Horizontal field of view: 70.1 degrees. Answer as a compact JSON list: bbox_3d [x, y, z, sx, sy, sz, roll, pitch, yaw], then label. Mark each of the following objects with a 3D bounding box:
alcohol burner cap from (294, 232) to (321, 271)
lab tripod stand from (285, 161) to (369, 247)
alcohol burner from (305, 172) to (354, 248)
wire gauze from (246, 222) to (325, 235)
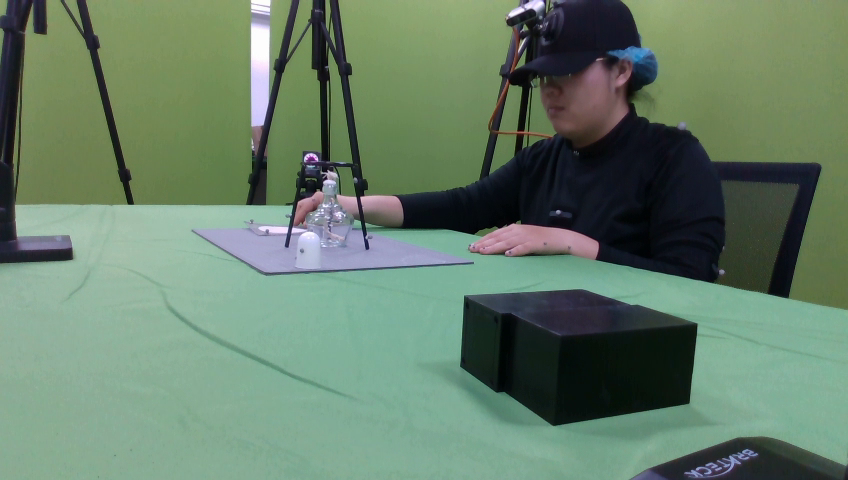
[{"bbox_3d":[-0.144,0.013,0.748,0.034,0.048,0.034,3,6,0],"label":"alcohol burner cap"},{"bbox_3d":[-0.151,-0.058,0.947,0.148,0.131,0.148,1,6,0],"label":"lab tripod stand"},{"bbox_3d":[-0.148,-0.048,0.949,0.078,0.119,0.078,1,6,0],"label":"alcohol burner"},{"bbox_3d":[-0.256,-0.020,1.108,0.122,0.011,0.124,2,7,-29],"label":"wire gauze"}]
